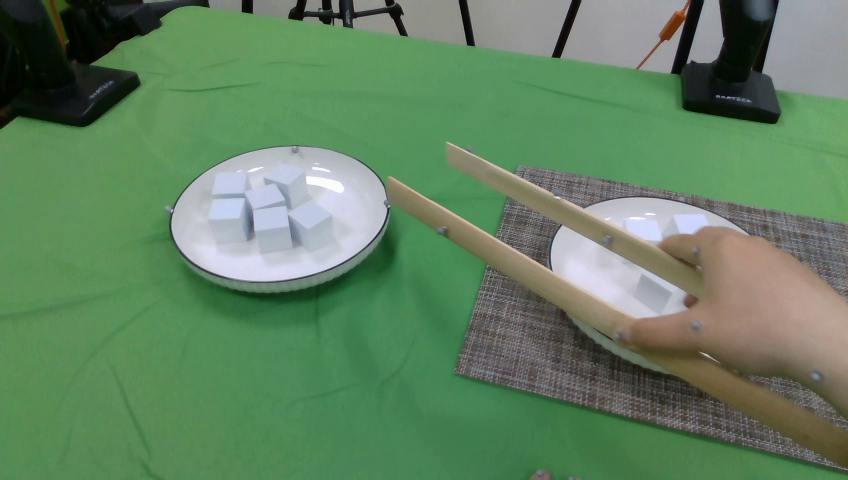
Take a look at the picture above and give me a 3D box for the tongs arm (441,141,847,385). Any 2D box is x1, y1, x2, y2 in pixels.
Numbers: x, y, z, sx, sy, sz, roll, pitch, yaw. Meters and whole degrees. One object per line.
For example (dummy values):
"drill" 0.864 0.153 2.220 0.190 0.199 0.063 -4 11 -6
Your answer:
"tongs arm" 0.144 0.018 0.430 0.381 0.027 0.051 31 49 29

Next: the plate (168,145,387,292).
"plate" -0.140 -0.022 0.601 0.209 0.038 0.207 1 43 -1

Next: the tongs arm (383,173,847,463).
"tongs arm" 0.115 0.038 0.407 0.384 0.028 0.028 30 45 29

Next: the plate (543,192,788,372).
"plate" 0.210 0.036 0.546 0.208 0.039 0.205 1 44 -1
